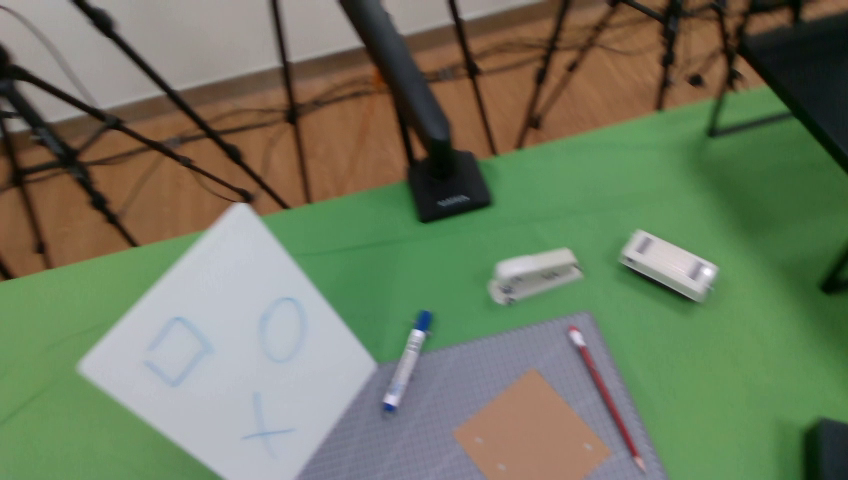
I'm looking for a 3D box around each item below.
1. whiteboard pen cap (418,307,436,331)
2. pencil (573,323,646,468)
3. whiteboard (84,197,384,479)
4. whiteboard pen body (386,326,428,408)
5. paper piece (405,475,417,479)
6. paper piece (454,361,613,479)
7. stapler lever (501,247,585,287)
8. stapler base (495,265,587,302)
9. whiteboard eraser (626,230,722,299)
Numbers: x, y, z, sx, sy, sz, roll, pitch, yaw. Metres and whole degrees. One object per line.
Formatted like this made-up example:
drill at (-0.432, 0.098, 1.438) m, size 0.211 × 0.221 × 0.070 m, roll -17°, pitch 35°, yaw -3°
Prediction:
whiteboard pen cap at (0.005, 0.109, 0.827) m, size 0.018 × 0.018 × 0.033 m, roll 12°, pitch 57°, yaw 16°
pencil at (0.227, 0.186, 0.746) m, size 0.012 × 0.012 × 0.192 m, roll -17°, pitch 56°, yaw -4°
whiteboard at (-0.223, 0.122, 0.710) m, size 0.142 × 0.309 × 0.216 m, roll 15°, pitch 56°, yaw 42°
whiteboard pen body at (-0.017, 0.154, 0.798) m, size 0.017 × 0.017 × 0.140 m, roll 14°, pitch 57°, yaw 17°
paper piece at (-0.039, 0.351, 0.665) m, size 0.135 × 0.004 × 0.134 m, roll -26°, pitch 56°, yaw -11°
paper piece at (0.128, 0.236, 0.726) m, size 0.136 × 0.009 × 0.137 m, roll -35°, pitch 59°, yaw -12°
stapler lever at (0.162, 0.033, 0.830) m, size 0.118 × 0.040 × 0.026 m, roll -18°, pitch 57°, yaw -6°
stapler base at (0.164, 0.048, 0.849) m, size 0.131 × 0.024 × 0.041 m, roll -18°, pitch 57°, yaw -7°
whiteboard eraser at (0.338, 0.034, 0.823) m, size 0.112 × 0.042 × 0.055 m, roll 31°, pitch 65°, yaw 26°
